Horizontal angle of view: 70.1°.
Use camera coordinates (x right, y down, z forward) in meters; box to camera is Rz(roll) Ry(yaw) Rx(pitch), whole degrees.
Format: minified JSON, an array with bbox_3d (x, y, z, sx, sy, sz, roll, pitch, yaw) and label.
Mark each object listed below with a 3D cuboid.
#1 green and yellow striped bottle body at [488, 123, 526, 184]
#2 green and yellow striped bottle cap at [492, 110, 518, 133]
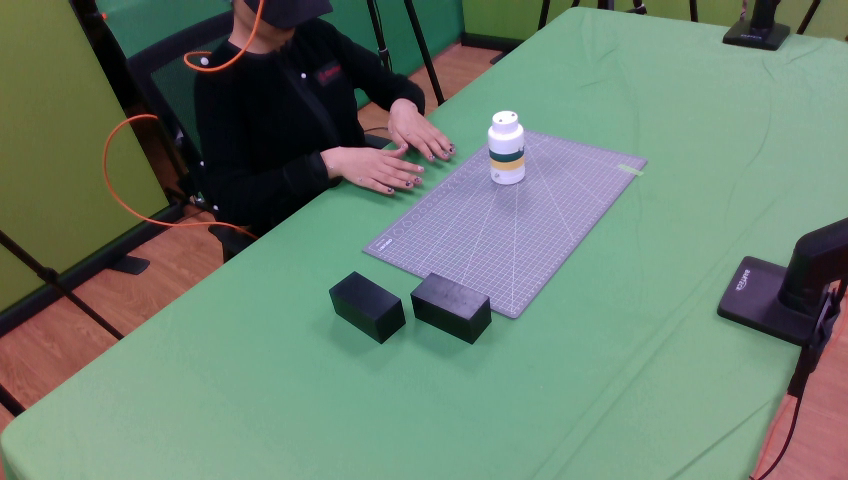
[{"bbox_3d":[0.147,-0.163,1.067,0.063,0.120,0.063,-5,40,5],"label":"green and yellow striped bottle body"},{"bbox_3d":[0.139,-0.203,1.033,0.045,0.020,0.045,-4,41,4],"label":"green and yellow striped bottle cap"}]
